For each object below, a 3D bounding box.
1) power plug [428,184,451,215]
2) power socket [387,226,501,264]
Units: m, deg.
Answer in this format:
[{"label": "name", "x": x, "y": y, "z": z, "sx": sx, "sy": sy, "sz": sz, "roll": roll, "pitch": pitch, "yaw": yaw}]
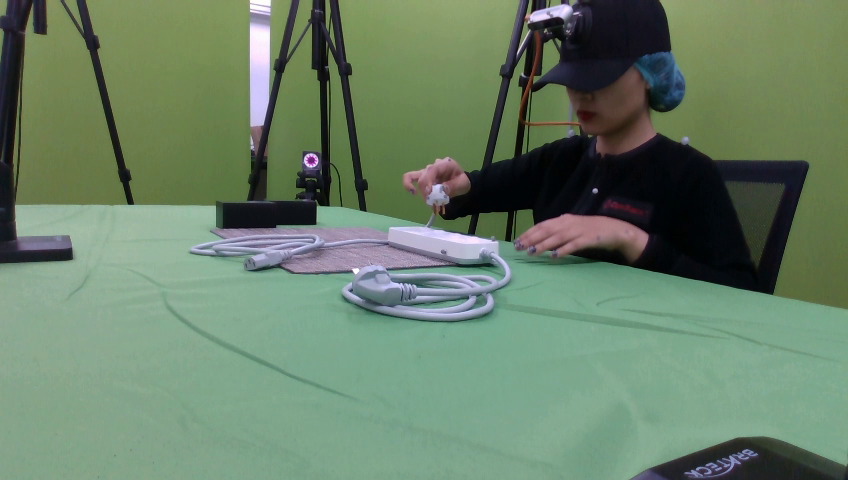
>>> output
[{"label": "power plug", "x": 0.030, "y": -0.059, "z": 0.941, "sx": 0.035, "sy": 0.052, "sz": 0.073, "roll": -7, "pitch": -16, "yaw": 22}, {"label": "power socket", "x": 0.024, "y": 0.004, "z": 0.912, "sx": 0.072, "sy": 0.032, "sz": 0.225, "roll": -3, "pitch": 10, "yaw": -34}]
